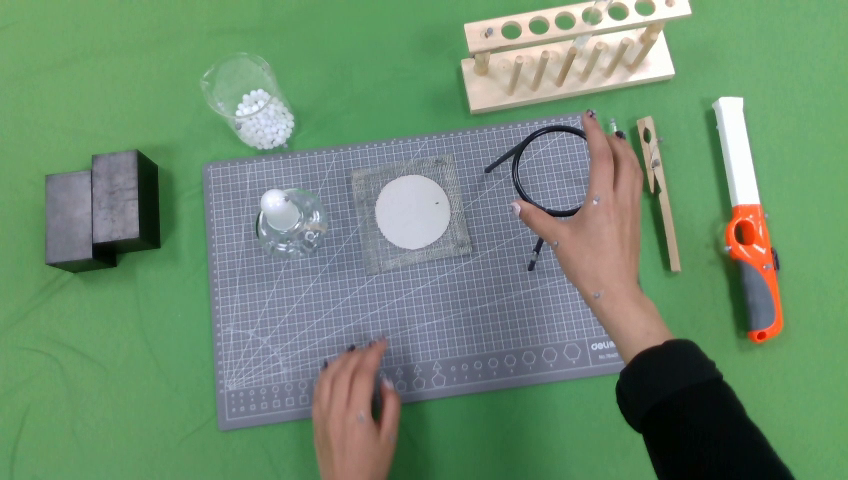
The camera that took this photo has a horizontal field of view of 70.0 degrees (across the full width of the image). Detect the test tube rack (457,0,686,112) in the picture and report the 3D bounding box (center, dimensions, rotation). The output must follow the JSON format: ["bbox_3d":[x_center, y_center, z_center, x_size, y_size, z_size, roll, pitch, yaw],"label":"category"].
[{"bbox_3d":[0.163,-0.213,0.685,0.242,0.085,0.066,-10,77,-1],"label":"test tube rack"}]

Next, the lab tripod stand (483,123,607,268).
[{"bbox_3d":[0.122,-0.054,0.623,0.148,0.132,0.147,0,78,3],"label":"lab tripod stand"}]

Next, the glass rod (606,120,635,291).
[{"bbox_3d":[0.223,-0.041,0.687,0.008,0.008,0.199,-5,81,-1],"label":"glass rod"}]

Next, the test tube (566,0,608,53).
[{"bbox_3d":[0.179,-0.243,0.641,0.017,0.150,0.017,1,76,-5],"label":"test tube"}]

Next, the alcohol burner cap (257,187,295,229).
[{"bbox_3d":[-0.147,-0.034,0.595,0.034,0.048,0.033,0,67,-1],"label":"alcohol burner cap"}]

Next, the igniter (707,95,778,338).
[{"bbox_3d":[0.353,-0.031,0.673,0.057,0.025,0.275,-1,77,-10],"label":"igniter"}]

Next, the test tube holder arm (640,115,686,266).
[{"bbox_3d":[0.266,-0.057,0.681,0.013,0.015,0.177,-21,73,36],"label":"test tube holder arm"}]

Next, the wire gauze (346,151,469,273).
[{"bbox_3d":[-0.020,-0.034,0.685,0.121,0.011,0.124,-11,81,-2],"label":"wire gauze"}]

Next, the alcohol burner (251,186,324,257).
[{"bbox_3d":[-0.146,-0.024,0.630,0.078,0.119,0.077,0,76,2],"label":"alcohol burner"}]

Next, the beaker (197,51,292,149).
[{"bbox_3d":[-0.193,-0.149,0.668,0.084,0.101,0.073,10,77,4],"label":"beaker"}]

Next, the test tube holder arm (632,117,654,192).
[{"bbox_3d":[0.254,-0.098,0.695,0.010,0.015,0.087,-18,75,37],"label":"test tube holder arm"}]
